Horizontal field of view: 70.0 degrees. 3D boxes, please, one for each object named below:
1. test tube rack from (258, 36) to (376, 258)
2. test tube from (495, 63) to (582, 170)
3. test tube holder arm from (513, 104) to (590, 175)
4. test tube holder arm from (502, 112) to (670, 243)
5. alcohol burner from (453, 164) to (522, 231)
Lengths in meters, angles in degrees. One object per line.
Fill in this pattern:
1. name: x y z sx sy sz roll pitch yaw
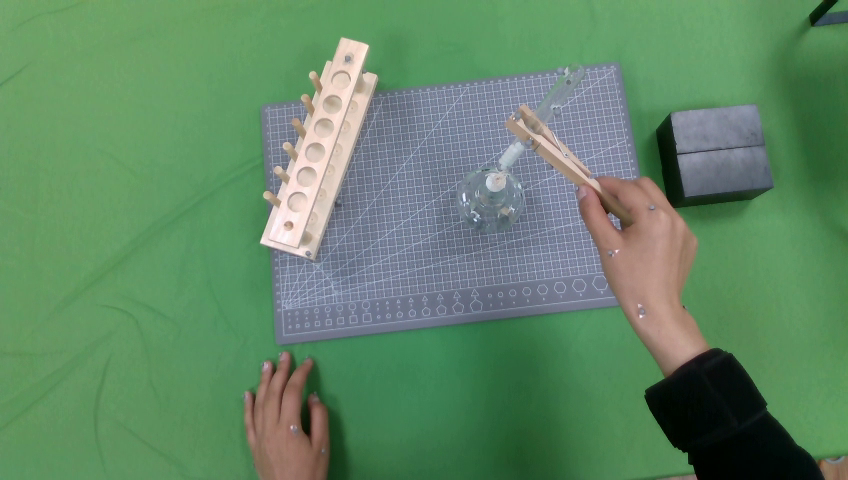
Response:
1. test tube rack: -0.129 -0.109 0.701 0.066 0.085 0.241 17 80 6
2. test tube: 0.096 -0.102 0.532 0.017 0.150 0.017 6 66 -14
3. test tube holder arm: 0.113 -0.087 0.541 0.087 0.015 0.010 46 60 4
4. test tube holder arm: 0.144 -0.054 0.537 0.178 0.015 0.013 38 60 0
5. alcohol burner: 0.072 -0.051 0.670 0.078 0.119 0.077 0 78 0
